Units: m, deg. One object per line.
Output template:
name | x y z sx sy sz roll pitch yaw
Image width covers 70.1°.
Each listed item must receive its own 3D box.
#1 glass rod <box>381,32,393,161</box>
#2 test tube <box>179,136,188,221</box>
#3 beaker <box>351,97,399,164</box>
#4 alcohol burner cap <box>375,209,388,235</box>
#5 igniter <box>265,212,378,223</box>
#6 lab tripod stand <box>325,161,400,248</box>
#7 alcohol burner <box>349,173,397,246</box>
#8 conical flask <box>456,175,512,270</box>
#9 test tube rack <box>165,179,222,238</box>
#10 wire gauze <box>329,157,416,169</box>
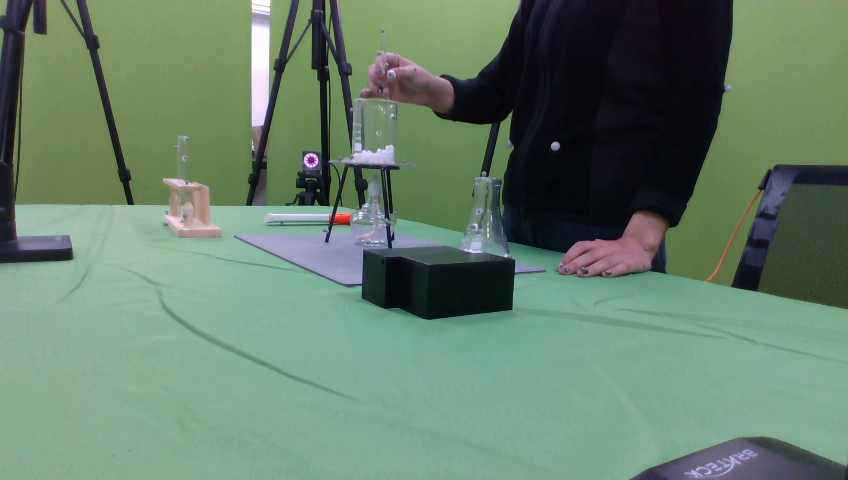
glass rod | -0.060 -0.226 0.956 0.008 0.199 0.008 -3 8 1
test tube | -0.425 -0.108 1.070 0.017 0.150 0.017 4 9 0
beaker | -0.078 -0.171 0.962 0.074 0.100 0.084 6 8 18
alcohol burner cap | -0.076 -0.035 1.145 0.034 0.048 0.034 2 7 0
igniter | -0.195 -0.047 1.285 0.278 0.025 0.057 -2 -2 -30
lab tripod stand | -0.083 -0.059 0.977 0.148 0.131 0.148 4 8 0
alcohol burner | -0.081 -0.050 0.982 0.078 0.119 0.078 4 8 0
conical flask | 0.082 -0.025 0.801 0.075 0.122 0.075 2 7 0
test tube rack | -0.423 -0.062 1.098 0.067 0.085 0.241 -2 9 -28
wire gauze | -0.079 -0.125 0.972 0.121 0.011 0.125 6 6 5
